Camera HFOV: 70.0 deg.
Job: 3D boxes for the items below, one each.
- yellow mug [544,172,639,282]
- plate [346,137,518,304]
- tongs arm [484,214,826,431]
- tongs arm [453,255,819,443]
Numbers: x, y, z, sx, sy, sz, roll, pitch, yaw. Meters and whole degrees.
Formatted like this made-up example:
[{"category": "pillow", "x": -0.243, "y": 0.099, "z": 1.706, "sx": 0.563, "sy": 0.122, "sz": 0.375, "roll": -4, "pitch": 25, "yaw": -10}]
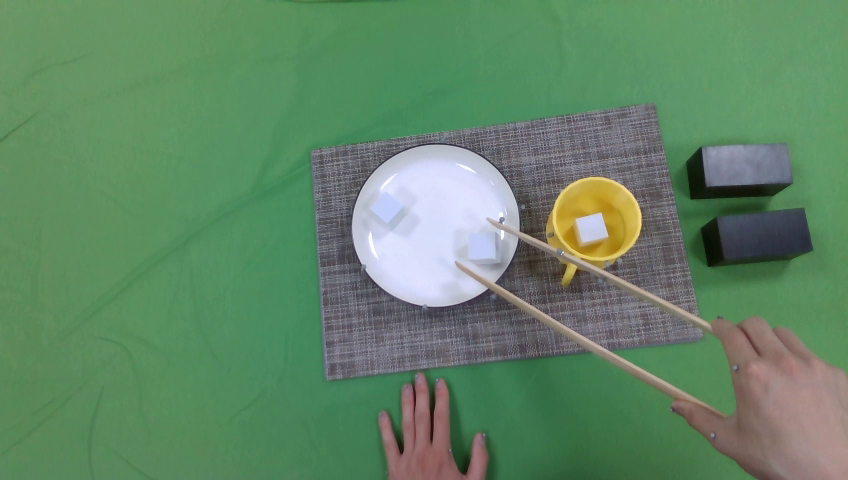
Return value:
[{"category": "yellow mug", "x": 0.189, "y": -0.010, "z": 0.715, "sx": 0.099, "sy": 0.064, "sz": 0.130, "roll": 24, "pitch": 81, "yaw": 9}, {"category": "plate", "x": 0.010, "y": -0.023, "z": 0.747, "sx": 0.207, "sy": 0.039, "sz": 0.206, "roll": -1, "pitch": 78, "yaw": 4}, {"category": "tongs arm", "x": 0.183, "y": 0.055, "z": 0.579, "sx": 0.381, "sy": 0.027, "sz": 0.050, "roll": 28, "pitch": 79, "yaw": 45}, {"category": "tongs arm", "x": 0.160, "y": 0.086, "z": 0.576, "sx": 0.383, "sy": 0.028, "sz": 0.028, "roll": 28, "pitch": 75, "yaw": 45}]
